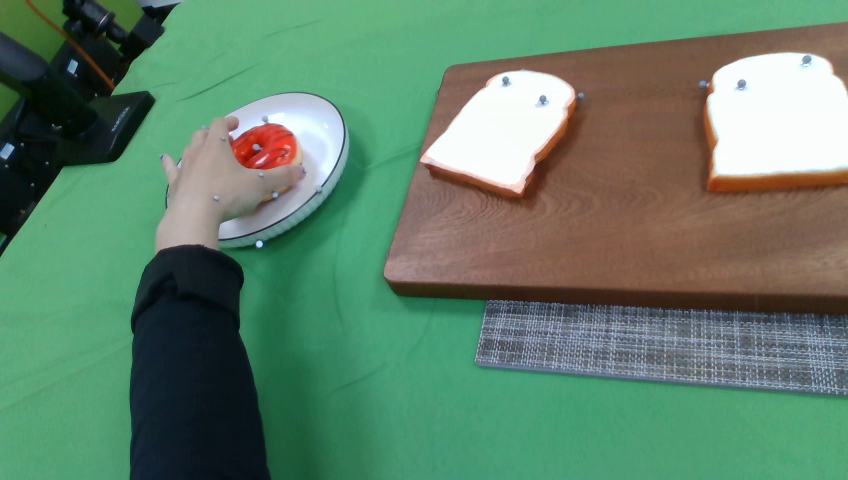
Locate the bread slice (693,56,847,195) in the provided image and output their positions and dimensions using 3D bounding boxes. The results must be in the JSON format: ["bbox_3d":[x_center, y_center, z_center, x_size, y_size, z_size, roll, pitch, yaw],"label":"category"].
[{"bbox_3d":[0.263,-0.092,0.467,0.104,0.019,0.130,-3,55,18],"label":"bread slice"}]

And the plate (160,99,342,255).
[{"bbox_3d":[-0.180,-0.067,0.649,0.209,0.038,0.207,-11,51,14],"label":"plate"}]

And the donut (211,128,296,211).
[{"bbox_3d":[-0.181,-0.075,0.642,0.099,0.049,0.098,-12,54,17],"label":"donut"}]

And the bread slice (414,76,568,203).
[{"bbox_3d":[0.066,-0.096,0.548,0.106,0.018,0.134,18,64,31],"label":"bread slice"}]
